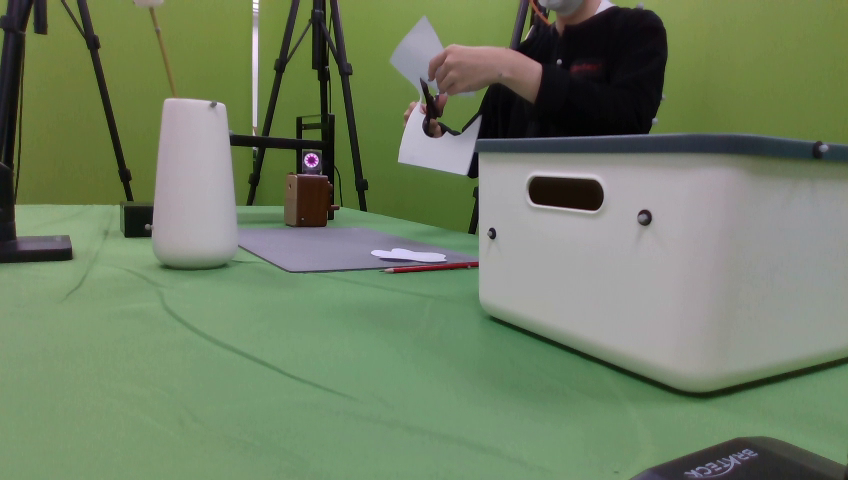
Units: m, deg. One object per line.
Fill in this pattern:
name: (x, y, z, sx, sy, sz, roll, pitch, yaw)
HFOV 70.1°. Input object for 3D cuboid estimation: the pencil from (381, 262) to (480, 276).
pencil: (0.030, 0.037, 0.794, 0.195, 0.012, 0.012, -4, 10, -30)

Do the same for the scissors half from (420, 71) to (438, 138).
scissors half: (0.006, -0.243, 1.093, 0.013, 0.040, 0.175, 16, -26, 17)

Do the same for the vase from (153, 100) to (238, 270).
vase: (-0.278, -0.066, 0.736, 0.098, 0.200, 0.098, 2, 9, 0)

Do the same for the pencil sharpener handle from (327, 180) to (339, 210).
pencil sharpener handle: (-0.194, -0.095, 1.256, 0.031, 0.067, 0.036, -2, -5, -36)

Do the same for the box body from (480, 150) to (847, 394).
box body: (0.254, 0.002, 0.539, 0.366, 0.160, 0.253, -2, 8, -31)

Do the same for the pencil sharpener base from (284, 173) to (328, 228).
pencil sharpener base: (-0.239, -0.081, 1.231, 0.077, 0.107, 0.061, -2, 9, -36)

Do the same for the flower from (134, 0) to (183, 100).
flower: (-0.282, -0.147, 0.713, 0.038, 0.362, 0.044, -23, 24, -31)

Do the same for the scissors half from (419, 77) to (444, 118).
scissors half: (0.013, -0.263, 1.099, 0.013, 0.040, 0.175, 11, -2, 15)

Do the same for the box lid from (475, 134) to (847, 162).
box lid: (0.256, -0.073, 0.528, 0.373, 0.015, 0.262, -2, 8, -31)
